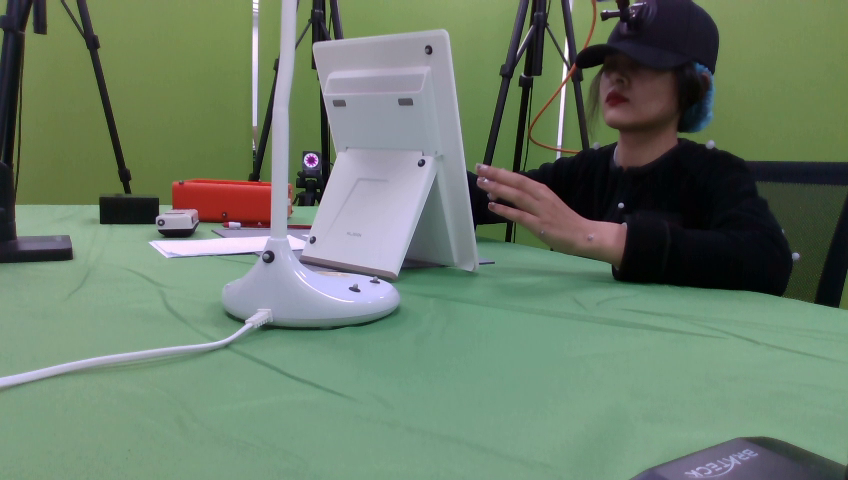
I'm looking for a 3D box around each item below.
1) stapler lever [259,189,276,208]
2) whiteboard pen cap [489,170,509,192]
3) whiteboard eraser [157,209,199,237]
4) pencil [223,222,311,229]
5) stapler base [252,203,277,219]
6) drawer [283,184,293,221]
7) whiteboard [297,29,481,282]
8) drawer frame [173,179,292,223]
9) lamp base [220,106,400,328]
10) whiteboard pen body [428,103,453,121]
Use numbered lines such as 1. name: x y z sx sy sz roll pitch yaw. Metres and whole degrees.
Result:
1. stapler lever: -0.335 -0.090 1.300 0.027 0.040 0.118 15 4 -10
2. whiteboard pen cap: 0.096 -0.077 0.788 0.018 0.018 0.033 -2 37 -29
3. whiteboard eraser: -0.411 -0.029 1.016 0.056 0.042 0.112 2 7 -16
4. pencil: -0.274 -0.025 1.132 0.195 0.012 0.012 1 7 -25
5. stapler base: -0.341 -0.065 1.301 0.041 0.024 0.130 15 5 -10
6. drawer: -0.396 -0.085 1.301 0.212 0.073 0.194 1 8 -7
7. whiteboard: -0.076 -0.082 0.741 0.216 0.305 0.144 9 29 37
8. drawer frame: -0.400 -0.086 1.300 0.214 0.082 0.201 1 8 -8
9. lamp base: -0.101 -0.023 0.531 0.160 0.180 0.179 4 10 10
10. whiteboard pen body: 0.023 -0.187 0.881 0.017 0.017 0.141 4 8 13
